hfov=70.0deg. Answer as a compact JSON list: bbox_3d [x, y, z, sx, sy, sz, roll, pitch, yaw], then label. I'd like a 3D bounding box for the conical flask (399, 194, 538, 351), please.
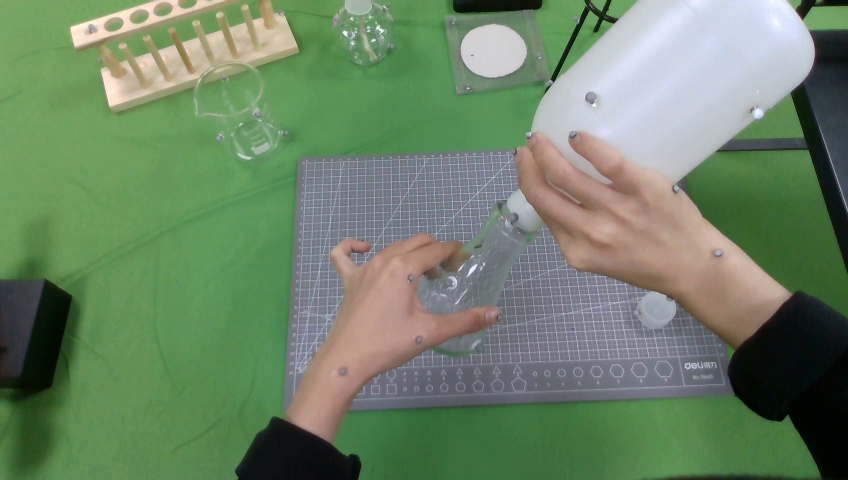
[{"bbox_3d":[0.037,0.022,0.458,0.076,0.122,0.074,23,34,-16],"label":"conical flask"}]

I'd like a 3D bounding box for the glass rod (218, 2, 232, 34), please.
[{"bbox_3d":[-0.246,-0.313,0.699,0.008,0.201,0.008,2,64,-3],"label":"glass rod"}]

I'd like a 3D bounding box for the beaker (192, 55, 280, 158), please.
[{"bbox_3d":[-0.211,-0.145,0.690,0.084,0.101,0.073,-42,71,-16],"label":"beaker"}]

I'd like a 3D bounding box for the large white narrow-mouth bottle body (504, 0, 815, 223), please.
[{"bbox_3d":[0.130,-0.082,0.388,0.195,0.102,0.101,-43,66,24],"label":"large white narrow-mouth bottle body"}]

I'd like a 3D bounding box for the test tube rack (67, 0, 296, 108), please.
[{"bbox_3d":[-0.291,-0.251,0.746,0.242,0.086,0.066,-21,67,-8],"label":"test tube rack"}]

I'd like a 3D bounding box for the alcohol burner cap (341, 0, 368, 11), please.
[{"bbox_3d":[-0.081,-0.297,0.707,0.034,0.048,0.033,3,65,-7],"label":"alcohol burner cap"}]

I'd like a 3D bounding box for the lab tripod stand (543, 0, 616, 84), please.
[{"bbox_3d":[0.217,-0.246,0.709,0.148,0.132,0.147,0,65,-1],"label":"lab tripod stand"}]

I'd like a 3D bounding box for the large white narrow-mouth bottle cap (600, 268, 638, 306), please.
[{"bbox_3d":[0.206,0.051,0.640,0.038,0.024,0.037,-1,65,3],"label":"large white narrow-mouth bottle cap"}]

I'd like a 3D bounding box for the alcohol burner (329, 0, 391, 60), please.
[{"bbox_3d":[-0.080,-0.280,0.740,0.078,0.120,0.077,0,64,0],"label":"alcohol burner"}]

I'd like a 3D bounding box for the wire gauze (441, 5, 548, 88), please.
[{"bbox_3d":[0.090,-0.254,0.783,0.121,0.011,0.124,-7,66,-3],"label":"wire gauze"}]
